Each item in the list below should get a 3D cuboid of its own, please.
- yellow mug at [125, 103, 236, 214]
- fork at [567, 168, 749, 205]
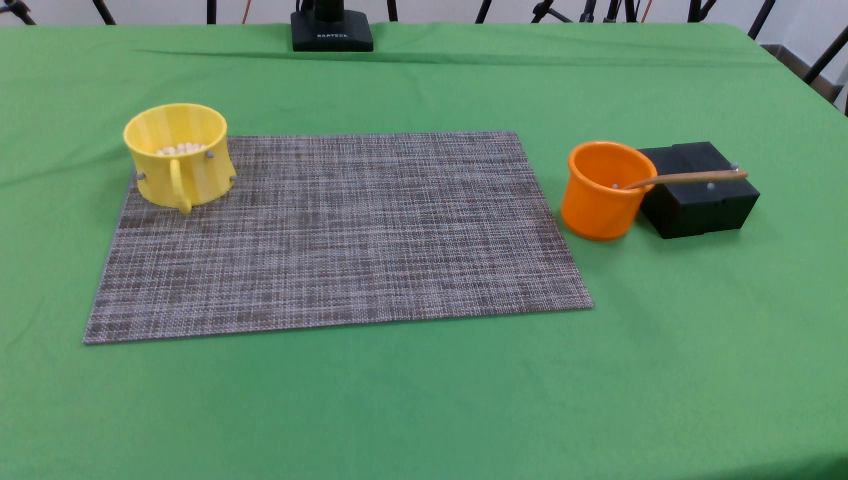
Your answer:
[{"bbox_3d":[-0.250,-0.081,0.629,0.100,0.064,0.129,-7,46,-15],"label":"yellow mug"},{"bbox_3d":[0.221,-0.053,0.599,0.028,0.019,0.206,-27,8,-29],"label":"fork"}]
